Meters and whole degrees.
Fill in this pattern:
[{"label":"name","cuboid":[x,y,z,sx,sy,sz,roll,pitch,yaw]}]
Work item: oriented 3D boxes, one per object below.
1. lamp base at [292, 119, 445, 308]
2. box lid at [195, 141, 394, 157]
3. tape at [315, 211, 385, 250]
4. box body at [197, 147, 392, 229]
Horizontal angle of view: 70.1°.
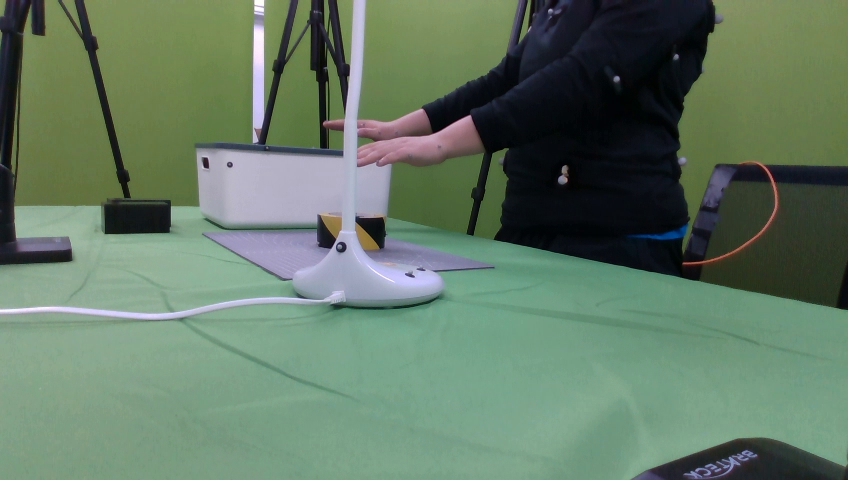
[{"label":"lamp base","cuboid":[-0.056,-0.030,0.616,0.160,0.180,0.179,4,10,8]},{"label":"box lid","cuboid":[-0.277,-0.190,1.282,0.373,0.015,0.262,-1,8,-30]},{"label":"tape","cuboid":[-0.119,-0.017,0.973,0.117,0.052,0.117,2,6,0]},{"label":"box body","cuboid":[-0.278,-0.117,1.291,0.366,0.160,0.253,-2,8,-30]}]
